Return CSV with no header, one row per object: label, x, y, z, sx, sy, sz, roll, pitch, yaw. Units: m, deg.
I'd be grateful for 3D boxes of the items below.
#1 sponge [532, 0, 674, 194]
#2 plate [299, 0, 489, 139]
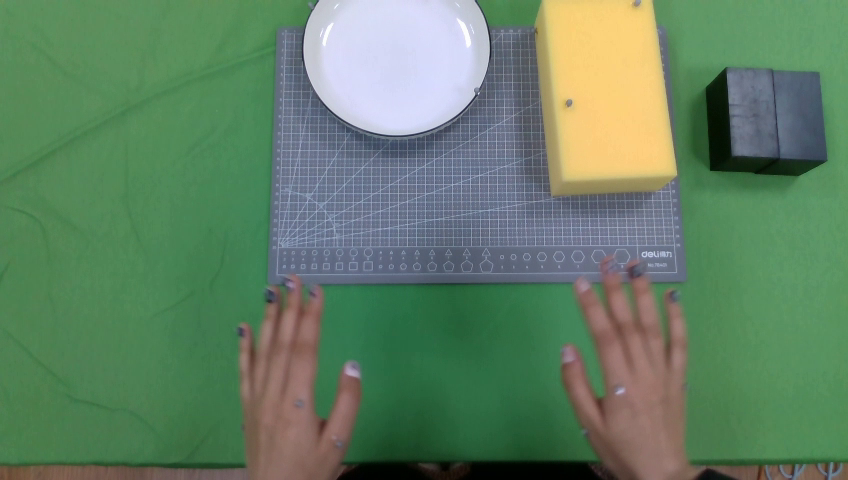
sponge,0.190,-0.158,0.659,0.118,0.061,0.206,-4,79,-1
plate,-0.032,-0.208,0.678,0.209,0.038,0.208,0,80,0
